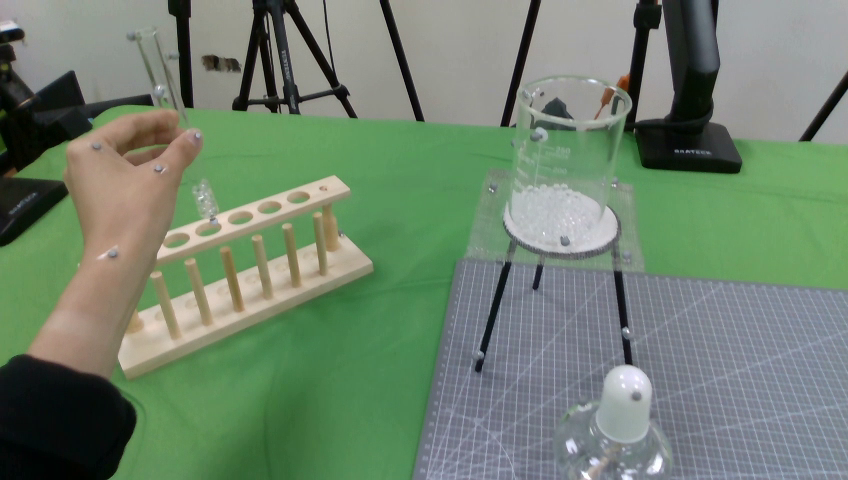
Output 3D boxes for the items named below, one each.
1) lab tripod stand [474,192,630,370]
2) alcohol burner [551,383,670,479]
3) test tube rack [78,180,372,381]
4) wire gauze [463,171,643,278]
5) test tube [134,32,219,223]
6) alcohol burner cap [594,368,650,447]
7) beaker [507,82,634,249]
[{"bbox_3d":[0.109,0.039,0.499,0.148,0.132,0.147,1,36,0],"label":"lab tripod stand"},{"bbox_3d":[0.123,0.129,0.394,0.078,0.120,0.077,0,38,1],"label":"alcohol burner"},{"bbox_3d":[-0.172,0.029,0.566,0.243,0.086,0.066,-23,41,-27],"label":"test tube rack"},{"bbox_3d":[0.099,-0.013,0.459,0.121,0.011,0.124,6,39,10],"label":"wire gauze"},{"bbox_3d":[-0.174,-0.073,0.435,0.017,0.151,0.017,-2,40,2],"label":"test tube"},{"bbox_3d":[0.123,0.100,0.372,0.034,0.048,0.033,-3,36,2],"label":"alcohol burner cap"},{"bbox_3d":[0.095,-0.052,0.428,0.074,0.101,0.083,-26,44,-31],"label":"beaker"}]
